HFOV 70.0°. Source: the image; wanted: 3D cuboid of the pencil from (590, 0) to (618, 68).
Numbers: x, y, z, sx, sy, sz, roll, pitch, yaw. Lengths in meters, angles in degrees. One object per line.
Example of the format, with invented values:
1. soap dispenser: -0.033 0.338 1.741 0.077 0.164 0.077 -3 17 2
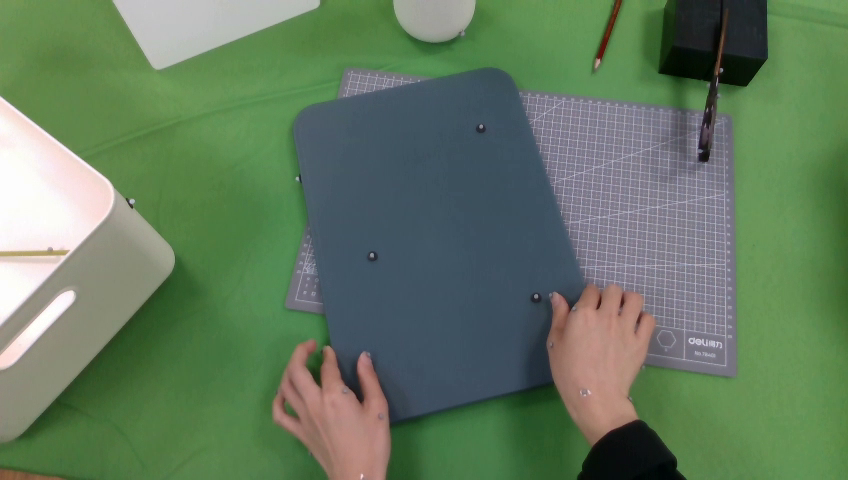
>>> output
1. pencil: 0.231 -0.287 0.741 0.012 0.012 0.193 20 72 9

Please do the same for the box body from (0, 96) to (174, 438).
1. box body: -0.458 -0.015 0.569 0.362 0.161 0.253 34 74 13

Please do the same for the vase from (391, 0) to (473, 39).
1. vase: 0.007 -0.314 0.654 0.098 0.201 0.097 -1 68 2

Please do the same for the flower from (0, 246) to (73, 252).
1. flower: -0.453 0.008 0.631 0.361 0.038 0.044 -1 98 5

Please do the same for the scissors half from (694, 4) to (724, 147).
1. scissors half: 0.307 -0.179 0.643 0.013 0.040 0.174 10 71 24

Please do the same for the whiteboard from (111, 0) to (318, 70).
1. whiteboard: -0.279 -0.388 0.663 0.217 0.308 0.142 -24 51 -7

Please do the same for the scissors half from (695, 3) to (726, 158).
1. scissors half: 0.316 -0.174 0.661 0.012 0.040 0.175 9 89 29

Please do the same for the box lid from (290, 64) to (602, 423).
1. box lid: 0.011 -0.018 0.639 0.263 0.015 0.368 -13 70 -4
